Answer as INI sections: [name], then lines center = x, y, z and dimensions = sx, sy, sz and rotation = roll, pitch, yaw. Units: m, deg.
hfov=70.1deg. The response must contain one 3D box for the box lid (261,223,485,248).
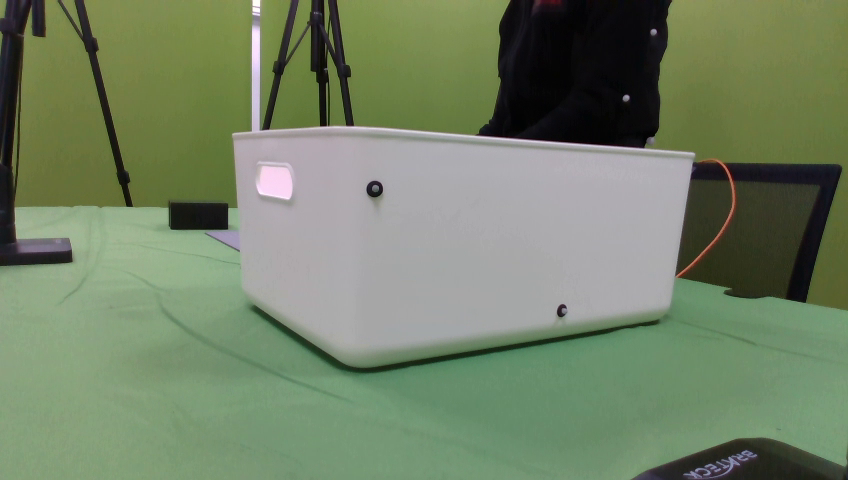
[box lid]
center = -0.100, -0.009, 1.085
dimensions = 0.373, 0.015, 0.262
rotation = 0, 7, -15

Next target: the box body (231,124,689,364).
[box body]
center = 0.031, -0.013, 0.563
dimensions = 0.366, 0.160, 0.253
rotation = -3, 8, -33

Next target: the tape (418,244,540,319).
[tape]
center = 0.051, 0.036, 0.570
dimensions = 0.117, 0.052, 0.117
rotation = 3, 7, 0
